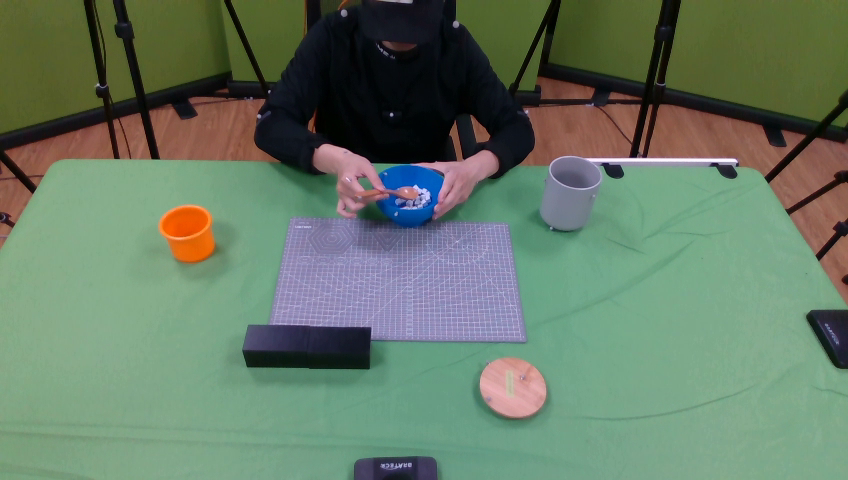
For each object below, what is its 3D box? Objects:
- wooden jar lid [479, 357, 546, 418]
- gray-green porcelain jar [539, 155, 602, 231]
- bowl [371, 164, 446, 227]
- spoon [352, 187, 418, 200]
[{"bbox_3d":[0.142,0.240,0.979,0.108,0.021,0.107,1,46,-1],"label":"wooden jar lid"},{"bbox_3d":[0.294,-0.091,1.235,0.106,0.127,0.105,2,46,-2],"label":"gray-green porcelain jar"},{"bbox_3d":[-0.033,-0.079,1.230,0.151,0.077,0.150,3,43,-2],"label":"bowl"},{"bbox_3d":[-0.074,-0.091,1.162,0.041,0.021,0.194,39,22,24],"label":"spoon"}]
